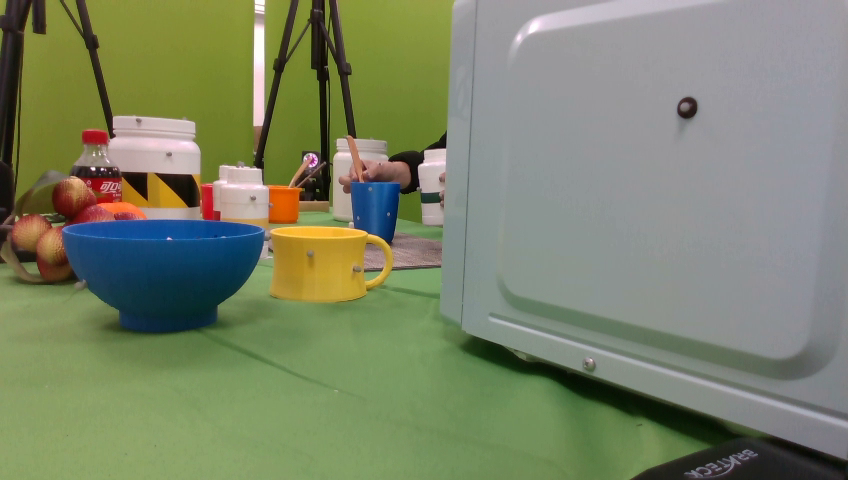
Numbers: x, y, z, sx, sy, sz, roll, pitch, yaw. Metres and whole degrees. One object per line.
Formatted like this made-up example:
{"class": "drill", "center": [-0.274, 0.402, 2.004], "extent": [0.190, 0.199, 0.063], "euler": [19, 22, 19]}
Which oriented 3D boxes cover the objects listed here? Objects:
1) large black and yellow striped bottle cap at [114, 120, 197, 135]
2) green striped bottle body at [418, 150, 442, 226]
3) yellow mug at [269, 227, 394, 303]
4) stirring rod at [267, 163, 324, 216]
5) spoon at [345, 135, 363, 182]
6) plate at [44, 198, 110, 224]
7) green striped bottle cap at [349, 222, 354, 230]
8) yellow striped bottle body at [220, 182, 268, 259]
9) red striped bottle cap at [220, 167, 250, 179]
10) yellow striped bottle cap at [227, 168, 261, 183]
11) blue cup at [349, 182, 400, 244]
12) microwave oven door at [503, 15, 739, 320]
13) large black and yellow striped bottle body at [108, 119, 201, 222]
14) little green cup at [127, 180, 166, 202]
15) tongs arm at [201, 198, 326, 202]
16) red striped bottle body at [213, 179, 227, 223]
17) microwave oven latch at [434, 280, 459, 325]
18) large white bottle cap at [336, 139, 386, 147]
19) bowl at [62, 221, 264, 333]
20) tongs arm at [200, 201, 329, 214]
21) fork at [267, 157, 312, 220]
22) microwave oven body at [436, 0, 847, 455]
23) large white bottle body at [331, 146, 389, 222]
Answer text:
{"class": "large black and yellow striped bottle cap", "center": [-0.407, -0.171, 0.920], "extent": [0.115, 0.019, 0.115], "euler": [2, 9, 0]}
{"class": "green striped bottle body", "center": [0.024, -0.084, 0.959], "extent": [0.063, 0.119, 0.063], "euler": [-5, 8, 1]}
{"class": "yellow mug", "center": [-0.094, 0.023, 0.629], "extent": [0.131, 0.064, 0.099], "euler": [0, 7, -22]}
{"class": "stirring rod", "center": [-0.278, -0.105, 1.294], "extent": [0.176, 0.006, 0.014], "euler": [-47, 25, -18]}
{"class": "spoon", "center": [-0.108, -0.096, 1.029], "extent": [0.042, 0.193, 0.021], "euler": [-5, -18, -24]}
{"class": "plate", "center": [-0.617, -0.056, 1.179], "extent": [0.209, 0.038, 0.209], "euler": [3, 7, 0]}
{"class": "green striped bottle cap", "center": [-0.122, -0.024, 1.155], "extent": [0.044, 0.020, 0.044], "euler": [0, 9, 0]}
{"class": "yellow striped bottle body", "center": [-0.246, -0.036, 0.825], "extent": [0.063, 0.120, 0.063], "euler": [3, 8, 0]}
{"class": "red striped bottle cap", "center": [-0.281, -0.100, 0.901], "extent": [0.044, 0.017, 0.044], "euler": [-1, 5, 0]}
{"class": "yellow striped bottle cap", "center": [-0.243, -0.087, 0.818], "extent": [0.044, 0.018, 0.044], "euler": [3, 6, 0]}
{"class": "blue cup", "center": [-0.082, -0.047, 1.010], "extent": [0.093, 0.100, 0.092], "euler": [1, 6, 0]}
{"class": "microwave oven door", "center": [0.218, -0.065, 0.600], "extent": [0.358, 0.243, 0.039], "euler": [-4, 10, -41]}
{"class": "large black and yellow striped bottle body", "center": [-0.412, -0.088, 0.930], "extent": [0.131, 0.184, 0.130], "euler": [3, 7, 0]}
{"class": "little green cup", "center": [-0.485, -0.086, 1.061], "extent": [0.061, 0.038, 0.061], "euler": [1, 7, 0]}
{"class": "tongs arm", "center": [-0.433, -0.089, 1.508], "extent": [0.390, 0.028, 0.028], "euler": [-1, 2, -29]}
{"class": "red striped bottle body", "center": [-0.284, -0.048, 0.910], "extent": [0.063, 0.119, 0.063], "euler": [3, 12, 0]}
{"class": "microwave oven latch", "center": [0.044, 0.045, 0.470], "extent": [0.079, 0.029, 0.030], "euler": [-2, 8, -39]}
{"class": "large white bottle cap", "center": [-0.143, -0.219, 1.375], "extent": [0.115, 0.018, 0.115], "euler": [2, 8, 0]}
{"class": "bowl", "center": [-0.209, 0.029, 0.496], "extent": [0.151, 0.077, 0.151], "euler": [2, 7, 0]}
{"class": "tongs arm", "center": [-0.378, -0.079, 1.440], "extent": [0.387, 0.026, 0.050], "euler": [-4, 7, -44]}
{"class": "fork", "center": [-0.289, -0.116, 1.321], "extent": [0.028, 0.019, 0.207], "euler": [6, 51, 19]}
{"class": "microwave oven body", "center": [0.279, -0.040, 0.465], "extent": [0.444, 0.260, 0.324], "euler": [-3, 9, -41]}
{"class": "large white bottle body", "center": [-0.146, -0.136, 1.388], "extent": [0.131, 0.184, 0.130], "euler": [2, 8, 0]}
